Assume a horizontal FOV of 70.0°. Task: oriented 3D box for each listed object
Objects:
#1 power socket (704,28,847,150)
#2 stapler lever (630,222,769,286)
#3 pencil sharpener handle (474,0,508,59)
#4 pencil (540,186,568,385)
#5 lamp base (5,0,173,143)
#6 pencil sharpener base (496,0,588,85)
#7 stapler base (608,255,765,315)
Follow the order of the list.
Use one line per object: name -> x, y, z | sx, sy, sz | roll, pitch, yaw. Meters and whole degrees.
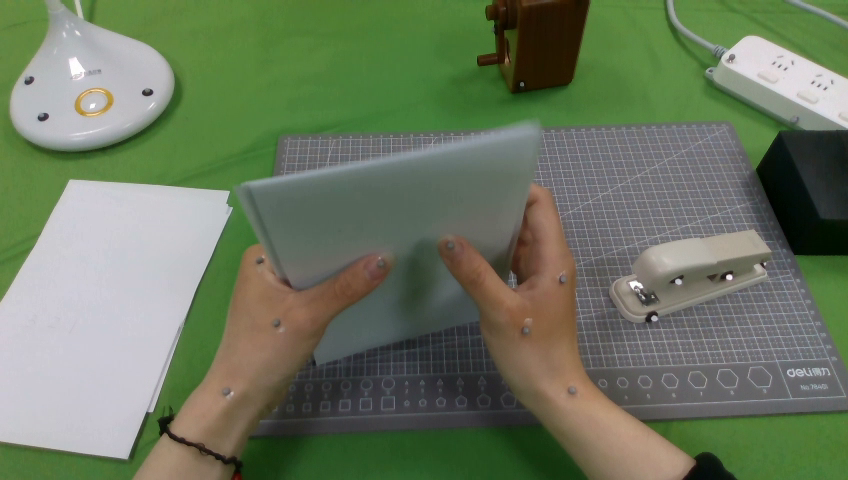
power socket -> 0.395, -0.143, 0.601 | 0.072, 0.033, 0.225 | -38, 62, -24
stapler lever -> 0.215, 0.007, 0.468 | 0.118, 0.040, 0.026 | -16, 57, -12
pencil sharpener handle -> 0.063, -0.211, 0.589 | 0.031, 0.068, 0.035 | -12, 33, -7
pencil -> 0.104, 0.027, 0.495 | 0.012, 0.012, 0.192 | 2, 53, 2
lamp base -> -0.347, -0.212, 0.562 | 0.161, 0.182, 0.177 | -29, 57, -19
pencil sharpener base -> 0.112, -0.218, 0.610 | 0.077, 0.108, 0.060 | -12, 56, -7
stapler base -> 0.214, 0.023, 0.488 | 0.131, 0.024, 0.041 | -15, 57, -12
